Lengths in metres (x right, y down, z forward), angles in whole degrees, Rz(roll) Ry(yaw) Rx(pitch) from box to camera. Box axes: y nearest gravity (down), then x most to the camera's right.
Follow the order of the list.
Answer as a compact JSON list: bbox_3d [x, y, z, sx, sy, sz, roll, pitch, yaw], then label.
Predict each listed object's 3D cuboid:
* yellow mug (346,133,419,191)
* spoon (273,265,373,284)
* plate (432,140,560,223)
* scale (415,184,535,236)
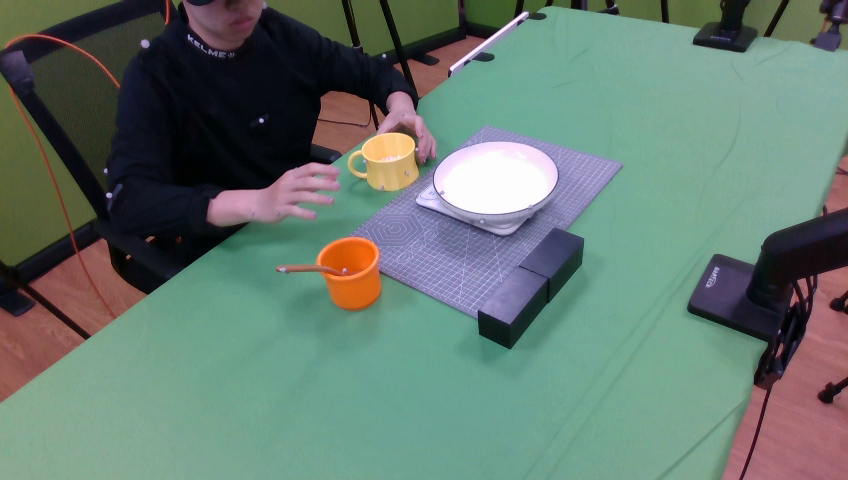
[{"bbox_3d":[-0.078,-0.143,1.116,0.131,0.064,0.099,-6,40,3],"label":"yellow mug"},{"bbox_3d":[-0.136,0.045,0.839,0.041,0.195,0.021,18,91,33],"label":"spoon"},{"bbox_3d":[0.118,-0.094,0.999,0.209,0.038,0.208,-4,41,4],"label":"plate"},{"bbox_3d":[0.099,-0.080,1.035,0.199,0.032,0.149,23,48,31],"label":"scale"}]
